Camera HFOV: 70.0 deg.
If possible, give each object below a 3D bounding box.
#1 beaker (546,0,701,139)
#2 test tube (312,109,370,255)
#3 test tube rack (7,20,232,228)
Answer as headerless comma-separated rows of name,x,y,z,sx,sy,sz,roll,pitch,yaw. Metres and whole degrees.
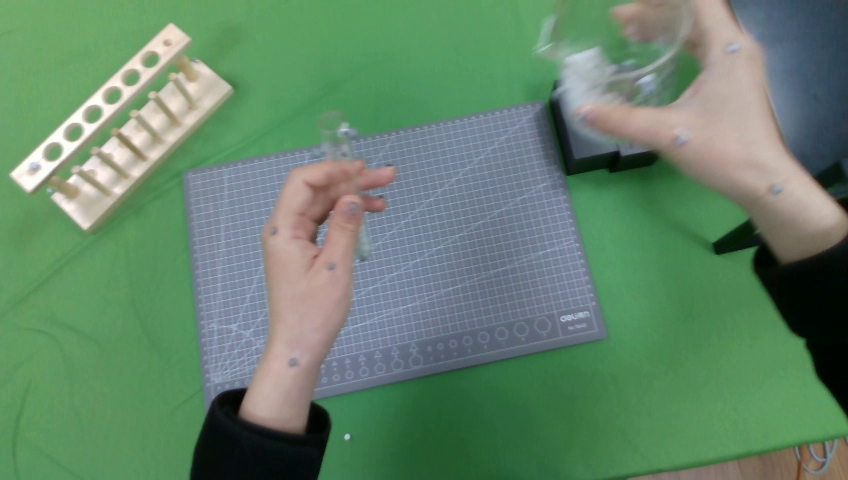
beaker,0.122,-0.112,0.378,0.084,0.101,0.073,-15,72,13
test tube,-0.050,-0.029,0.387,0.017,0.151,0.017,-1,61,2
test tube rack,-0.347,-0.134,0.710,0.066,0.085,0.242,40,80,11
